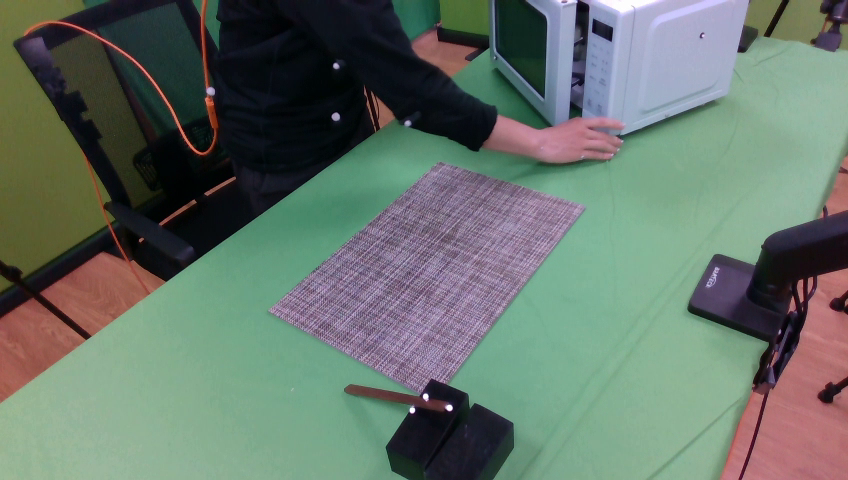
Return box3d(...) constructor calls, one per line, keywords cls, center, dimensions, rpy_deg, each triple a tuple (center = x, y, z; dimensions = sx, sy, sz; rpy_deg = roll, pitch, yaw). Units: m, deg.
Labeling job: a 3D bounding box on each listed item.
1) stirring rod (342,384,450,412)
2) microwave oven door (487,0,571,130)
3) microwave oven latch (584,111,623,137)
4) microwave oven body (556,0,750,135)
box3d(cls="stirring rod", center=(-0.038, 0.186, 0.714), dimensions=(0.175, 0.006, 0.014), rpy_deg=(-3, 22, 43))
box3d(cls="microwave oven door", center=(0.206, -0.411, 1.225), dimensions=(0.039, 0.245, 0.353), rpy_deg=(-15, 41, -9))
box3d(cls="microwave oven latch", center=(0.337, -0.222, 1.142), dimensions=(0.030, 0.029, 0.078), rpy_deg=(-21, 42, -14))
box3d(cls="microwave oven body", center=(0.382, -0.444, 1.246), dimensions=(0.327, 0.261, 0.437), rpy_deg=(-22, 42, -16))
